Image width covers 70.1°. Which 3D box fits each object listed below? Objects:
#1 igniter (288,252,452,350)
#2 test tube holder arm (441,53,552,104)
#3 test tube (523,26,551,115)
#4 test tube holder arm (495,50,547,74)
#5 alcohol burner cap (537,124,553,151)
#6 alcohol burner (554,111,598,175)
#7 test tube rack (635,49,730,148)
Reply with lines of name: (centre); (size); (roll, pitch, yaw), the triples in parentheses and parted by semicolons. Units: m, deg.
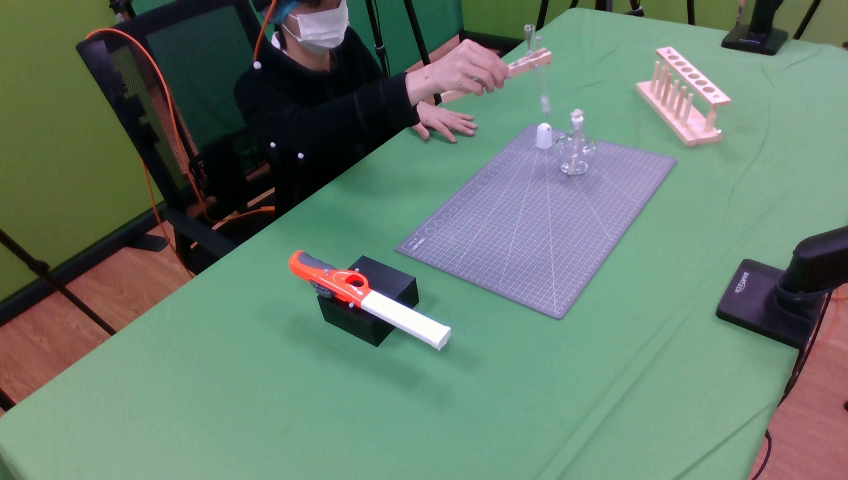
igniter: (-0.084, 0.077, 0.821); (0.274, 0.025, 0.057); (23, 48, 27)
test tube holder arm: (0.109, -0.245, 0.915); (0.178, 0.015, 0.013); (-22, 37, -4)
test tube: (0.177, -0.259, 0.936); (0.017, 0.151, 0.017); (-14, 40, 12)
test tube holder arm: (0.148, -0.266, 0.924); (0.088, 0.015, 0.010); (-27, 38, -10)
alcohol burner cap: (0.232, -0.199, 1.158); (0.034, 0.048, 0.033); (-5, 40, 5)
alcohol burner: (0.270, -0.175, 1.066); (0.078, 0.119, 0.077); (-4, 42, 4)
test tube rack: (0.497, -0.283, 1.185); (0.067, 0.085, 0.240); (-10, 40, -2)
